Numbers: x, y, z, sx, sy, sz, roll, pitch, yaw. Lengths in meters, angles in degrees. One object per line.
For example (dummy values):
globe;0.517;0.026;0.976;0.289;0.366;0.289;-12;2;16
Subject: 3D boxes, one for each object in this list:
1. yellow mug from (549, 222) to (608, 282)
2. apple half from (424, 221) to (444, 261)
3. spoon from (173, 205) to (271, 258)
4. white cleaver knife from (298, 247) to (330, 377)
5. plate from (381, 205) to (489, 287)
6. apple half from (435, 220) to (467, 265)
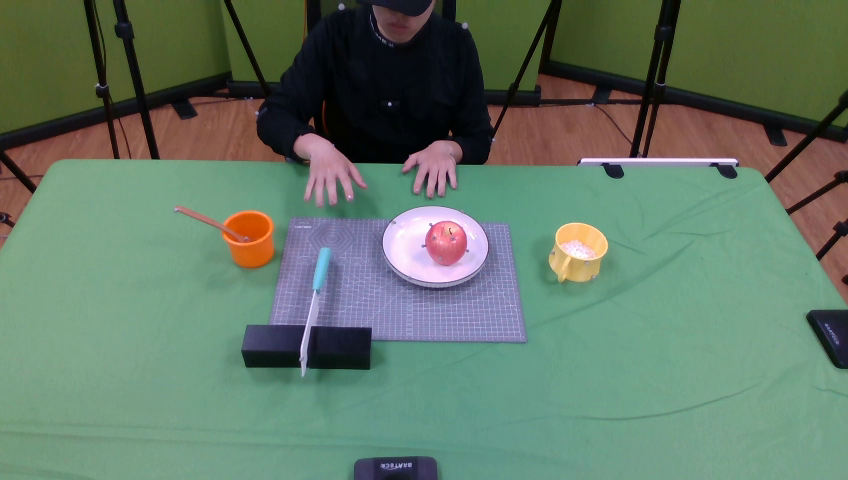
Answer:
yellow mug;0.287;0.031;1.159;0.099;0.064;0.130;27;51;21
apple half;0.016;0.002;1.145;0.033;0.081;0.081;14;46;2
spoon;-0.362;-0.017;1.098;0.021;0.195;0.041;-32;42;27
white cleaver knife;-0.191;0.111;1.037;0.021;0.066;0.285;5;36;-2
plate;0.021;0.015;1.170;0.209;0.038;0.208;2;46;-2
apple half;0.054;0.009;1.142;0.053;0.075;0.080;14;44;3
